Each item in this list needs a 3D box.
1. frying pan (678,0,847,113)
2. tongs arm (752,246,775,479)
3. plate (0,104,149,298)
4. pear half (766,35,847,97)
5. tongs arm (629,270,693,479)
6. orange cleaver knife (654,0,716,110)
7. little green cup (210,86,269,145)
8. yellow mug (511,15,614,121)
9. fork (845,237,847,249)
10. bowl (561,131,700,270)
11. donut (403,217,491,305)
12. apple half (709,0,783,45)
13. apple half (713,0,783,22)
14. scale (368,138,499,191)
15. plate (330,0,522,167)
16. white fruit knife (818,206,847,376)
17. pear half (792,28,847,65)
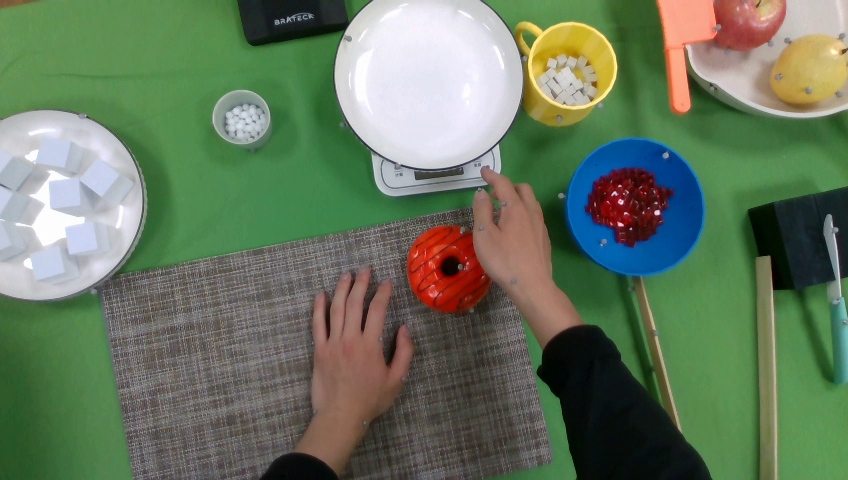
[{"bbox_3d":[0.478,-0.207,0.702,0.307,0.103,0.486,-39,81,-5],"label":"frying pan"},{"bbox_3d":[0.385,0.200,0.697,0.028,0.028,0.386,3,86,-11],"label":"tongs arm"},{"bbox_3d":[-0.401,-0.041,0.654,0.208,0.039,0.207,0,85,-4],"label":"plate"},{"bbox_3d":[0.441,-0.198,0.691,0.076,0.110,0.056,24,84,2],"label":"pear half"},{"bbox_3d":[0.300,0.209,0.687,0.051,0.026,0.384,-12,87,-9],"label":"tongs arm"},{"bbox_3d":[0.284,-0.251,0.673,0.077,0.012,0.211,-7,86,-2],"label":"orange cleaver knife"},{"bbox_3d":[-0.203,-0.136,0.677,0.061,0.038,0.061,0,84,-4],"label":"little green cup"},{"bbox_3d":[0.147,-0.206,0.696,0.100,0.064,0.131,-44,88,-6],"label":"yellow mug"},{"bbox_3d":[0.519,0.090,0.699,0.028,0.018,0.208,-22,102,-8],"label":"fork"},{"bbox_3d":[0.219,-0.039,0.681,0.151,0.077,0.151,0,86,-4],"label":"bowl"},{"bbox_3d":[0.025,0.024,0.673,0.099,0.048,0.099,0,86,-3],"label":"donut"},{"bbox_3d":[0.365,-0.259,0.708,0.081,0.074,0.053,30,87,-4],"label":"apple half"},{"bbox_3d":[0.383,-0.293,0.712,0.081,0.081,0.033,29,86,-1],"label":"apple half"},{"bbox_3d":[0.003,-0.163,0.698,0.149,0.031,0.200,-7,86,-5],"label":"scale"},{"bbox_3d":[0.003,-0.181,0.667,0.209,0.038,0.208,1,85,-5],"label":"plate"},{"bbox_3d":[0.464,0.062,0.689,0.016,0.027,0.208,-14,101,-5],"label":"white fruit knife"},{"bbox_3d":[0.458,-0.227,0.704,0.070,0.088,0.031,19,83,4],"label":"pear half"}]
